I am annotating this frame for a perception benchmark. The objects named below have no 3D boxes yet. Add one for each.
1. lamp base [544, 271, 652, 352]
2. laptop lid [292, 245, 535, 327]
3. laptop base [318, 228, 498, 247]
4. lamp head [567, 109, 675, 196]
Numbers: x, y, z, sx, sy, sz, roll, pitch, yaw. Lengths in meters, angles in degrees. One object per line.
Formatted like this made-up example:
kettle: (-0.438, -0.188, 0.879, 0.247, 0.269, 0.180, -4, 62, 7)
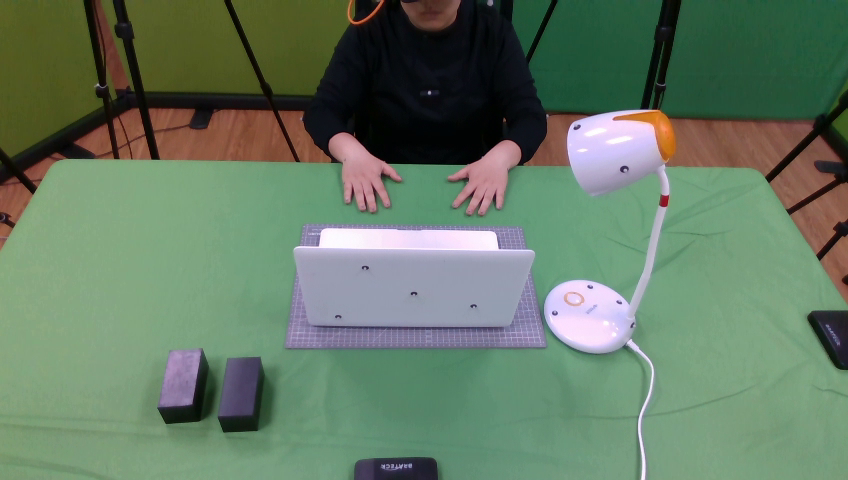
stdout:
lamp base: (0.310, 0.086, 1.029, 0.178, 0.181, 0.160, 32, 52, 21)
laptop lid: (-0.018, 0.080, 0.956, 0.357, 0.243, 0.013, 2, 54, -5)
laptop base: (-0.028, 0.066, 1.135, 0.355, 0.023, 0.234, 1, 43, -4)
lamp head: (0.272, -0.123, 0.818, 0.122, 0.113, 0.112, -9, 35, 37)
